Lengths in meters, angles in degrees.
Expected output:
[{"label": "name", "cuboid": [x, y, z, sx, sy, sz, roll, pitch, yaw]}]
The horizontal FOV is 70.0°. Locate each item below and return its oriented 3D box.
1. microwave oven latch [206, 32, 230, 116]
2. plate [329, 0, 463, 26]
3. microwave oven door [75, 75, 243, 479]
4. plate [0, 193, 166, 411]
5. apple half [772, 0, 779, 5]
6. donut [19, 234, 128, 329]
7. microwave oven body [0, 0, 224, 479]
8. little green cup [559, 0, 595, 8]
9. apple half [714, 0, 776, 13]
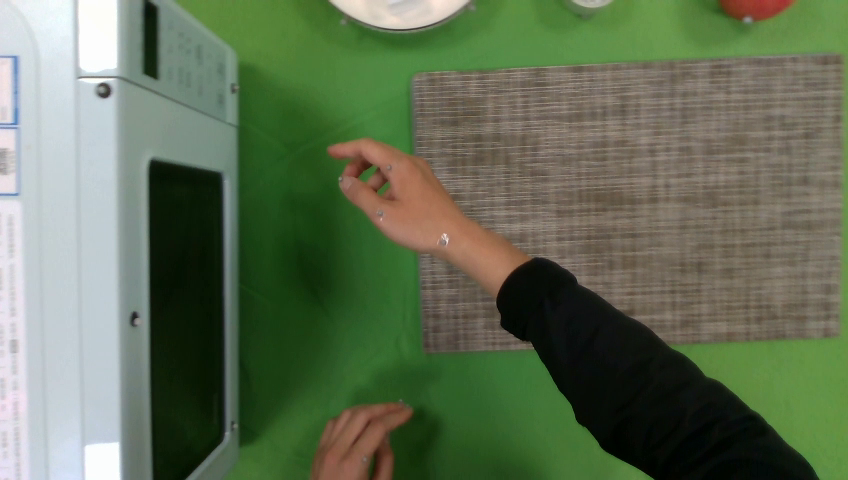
[{"label": "microwave oven latch", "cuboid": [-0.213, -0.167, 0.610, 0.030, 0.029, 0.079, 4, 95, 0]}, {"label": "plate", "cuboid": [-0.028, -0.320, 0.616, 0.208, 0.039, 0.207, 0, 94, 1]}, {"label": "microwave oven door", "cuboid": [-0.216, 0.059, 0.527, 0.039, 0.243, 0.356, 0, 94, 2]}, {"label": "plate", "cuboid": [-0.351, 0.059, 0.585, 0.209, 0.038, 0.209, 0, 94, 0]}, {"label": "apple half", "cuboid": [0.348, -0.272, 0.596, 0.033, 0.081, 0.081, -11, 93, 7]}, {"label": "donut", "cuboid": [-0.333, 0.041, 0.577, 0.099, 0.048, 0.099, 1, 115, 4]}, {"label": "microwave oven body", "cuboid": [-0.362, 0.015, 0.530, 0.326, 0.260, 0.442, 0, 95, 1]}, {"label": "little green cup", "cuboid": [0.160, -0.269, 0.617, 0.061, 0.038, 0.061, 0, 93, 1]}, {"label": "apple half", "cuboid": [0.310, -0.264, 0.598, 0.053, 0.074, 0.081, -10, 97, 7]}]
